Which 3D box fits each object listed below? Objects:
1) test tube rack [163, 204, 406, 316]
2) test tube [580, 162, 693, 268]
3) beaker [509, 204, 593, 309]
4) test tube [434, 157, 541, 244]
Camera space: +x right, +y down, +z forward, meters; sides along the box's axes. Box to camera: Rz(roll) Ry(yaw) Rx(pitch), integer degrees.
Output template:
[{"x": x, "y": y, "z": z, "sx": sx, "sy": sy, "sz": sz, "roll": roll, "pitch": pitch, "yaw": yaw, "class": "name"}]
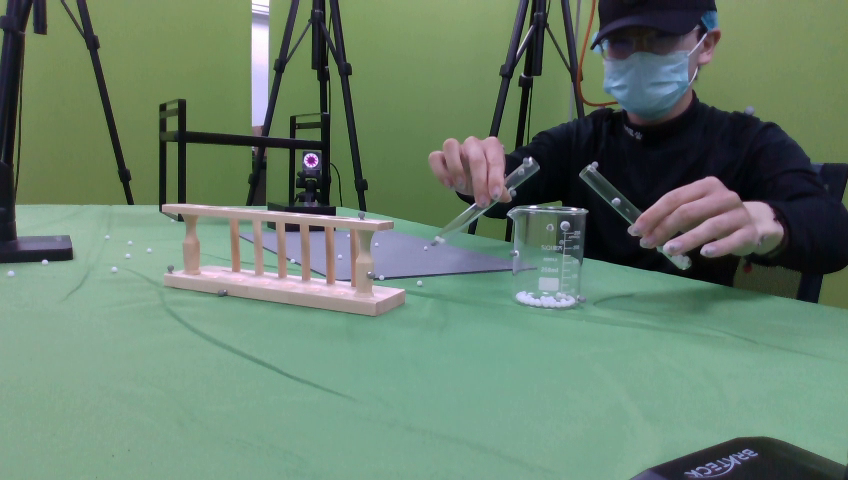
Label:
[{"x": -0.141, "y": 0.013, "z": 0.601, "sx": 0.241, "sy": 0.085, "sz": 0.067, "roll": 5, "pitch": 8, "yaw": 21, "class": "test tube rack"}, {"x": 0.215, "y": -0.024, "z": 0.609, "sx": 0.150, "sy": 0.017, "sz": 0.017, "roll": 41, "pitch": 5, "yaw": -6, "class": "test tube"}, {"x": 0.126, "y": 0.015, "z": 0.613, "sx": 0.084, "sy": 0.100, "sz": 0.074, "roll": 1, "pitch": 7, "yaw": -5, "class": "beaker"}, {"x": 0.067, "y": -0.041, "z": 0.665, "sx": 0.150, "sy": 0.017, "sz": 0.017, "roll": -38, "pitch": -13, "yaw": 26, "class": "test tube"}]
